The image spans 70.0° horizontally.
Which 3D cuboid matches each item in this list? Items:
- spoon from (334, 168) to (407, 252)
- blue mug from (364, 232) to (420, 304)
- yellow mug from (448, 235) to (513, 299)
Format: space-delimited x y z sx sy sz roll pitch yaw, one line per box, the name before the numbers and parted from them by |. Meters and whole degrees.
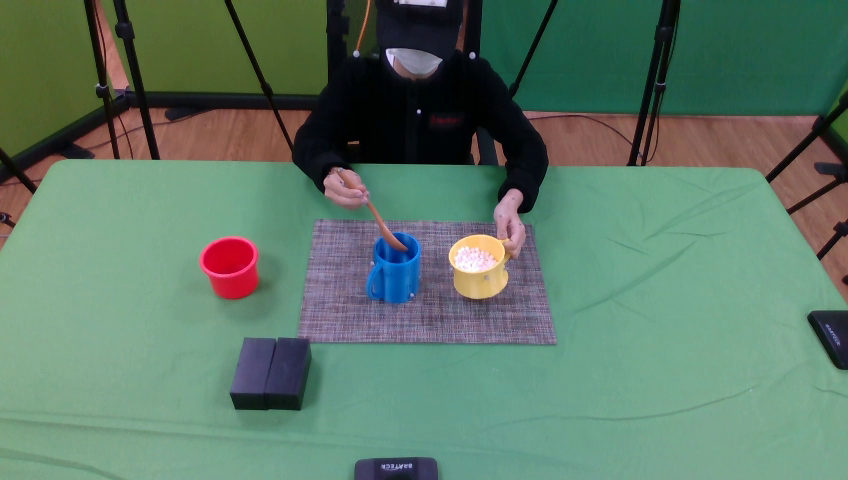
spoon | -0.090 -0.047 1.015 0.021 0.194 0.041 -44 26 -20
blue mug | -0.062 0.059 1.074 0.082 0.106 0.116 35 53 27
yellow mug | 0.108 0.039 1.078 0.131 0.064 0.099 -31 43 -22
